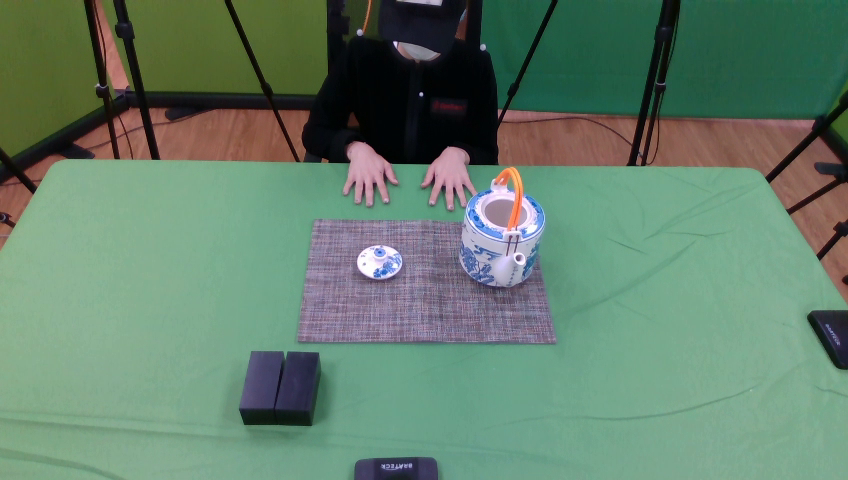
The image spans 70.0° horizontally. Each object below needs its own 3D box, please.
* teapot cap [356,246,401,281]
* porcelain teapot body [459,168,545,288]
[{"bbox_3d":[-0.085,0.039,1.136,0.085,0.044,0.084,4,46,-4],"label":"teapot cap"},{"bbox_3d":[0.146,-0.006,1.071,0.145,0.226,0.204,-4,46,-8],"label":"porcelain teapot body"}]
